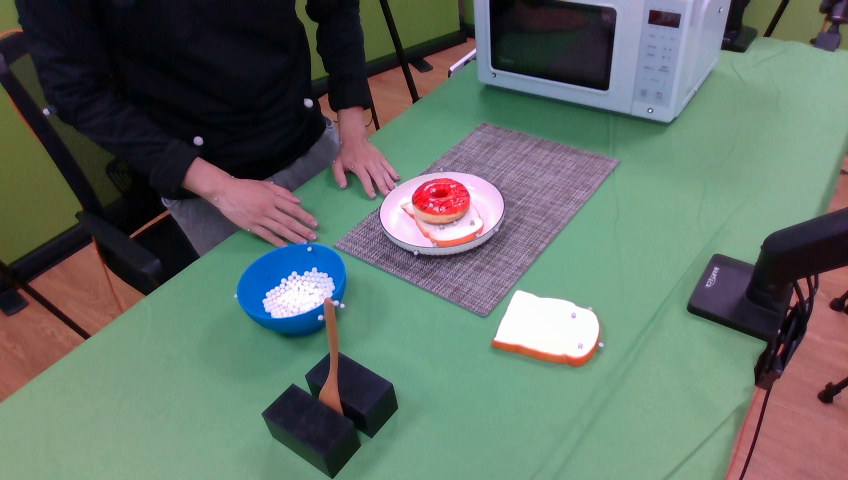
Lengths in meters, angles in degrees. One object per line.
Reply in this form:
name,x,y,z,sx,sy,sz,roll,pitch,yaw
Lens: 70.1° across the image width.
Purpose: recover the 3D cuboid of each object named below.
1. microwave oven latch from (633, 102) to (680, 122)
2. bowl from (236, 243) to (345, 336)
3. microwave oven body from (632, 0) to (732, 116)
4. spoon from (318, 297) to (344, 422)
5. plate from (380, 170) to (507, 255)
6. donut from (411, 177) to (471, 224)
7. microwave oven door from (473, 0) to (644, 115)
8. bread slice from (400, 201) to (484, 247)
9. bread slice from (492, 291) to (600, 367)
microwave oven latch,0.444,-0.249,1.157,0.078,0.029,0.030,21,49,30
bowl,-0.180,0.082,0.855,0.151,0.077,0.150,-4,41,4
microwave oven body,0.377,-0.462,1.267,0.438,0.261,0.327,21,48,30
spoon,-0.107,0.139,0.687,0.041,0.194,0.022,27,37,31
plate,0.033,-0.042,0.995,0.207,0.039,0.206,-4,40,4
donut,0.028,-0.064,0.978,0.099,0.048,0.098,-4,40,4
microwave oven door,0.257,-0.396,1.199,0.353,0.245,0.039,21,48,29
bread slice,0.037,-0.038,0.990,0.107,0.018,0.133,-23,43,-17
bread slice,0.169,0.118,0.811,0.131,0.019,0.105,11,44,22
